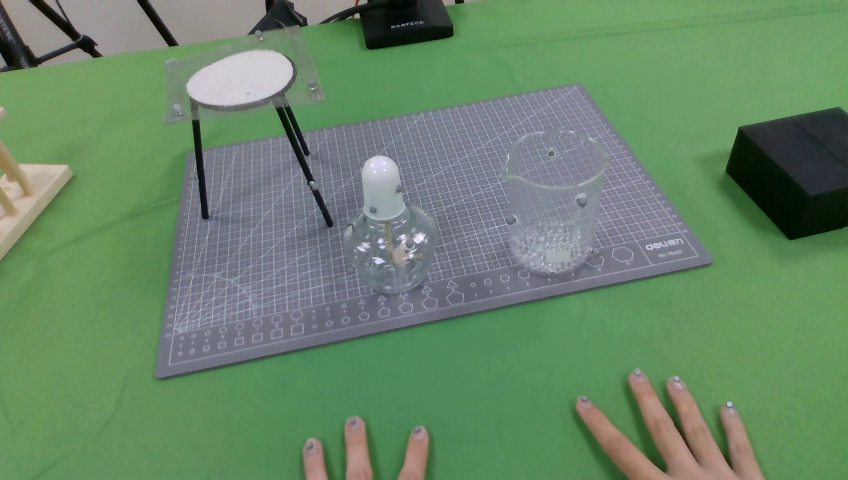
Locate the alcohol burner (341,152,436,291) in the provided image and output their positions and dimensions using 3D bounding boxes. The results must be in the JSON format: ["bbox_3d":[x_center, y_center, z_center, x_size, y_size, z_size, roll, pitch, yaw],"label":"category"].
[{"bbox_3d":[-0.030,-0.017,0.477,0.078,0.120,0.077,-4,43,4],"label":"alcohol burner"}]

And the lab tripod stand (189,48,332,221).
[{"bbox_3d":[-0.149,-0.091,0.549,0.148,0.133,0.147,-3,47,4],"label":"lab tripod stand"}]

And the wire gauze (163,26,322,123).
[{"bbox_3d":[-0.155,-0.138,0.501,0.125,0.011,0.120,-15,45,-8],"label":"wire gauze"}]

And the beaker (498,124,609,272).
[{"bbox_3d":[0.100,-0.029,0.485,0.084,0.101,0.073,-14,45,-6],"label":"beaker"}]

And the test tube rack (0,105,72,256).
[{"bbox_3d":[-0.432,-0.020,0.546,0.066,0.086,0.240,3,45,9],"label":"test tube rack"}]

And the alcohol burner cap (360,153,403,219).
[{"bbox_3d":[-0.033,-0.042,0.451,0.034,0.048,0.033,-2,42,2],"label":"alcohol burner cap"}]
